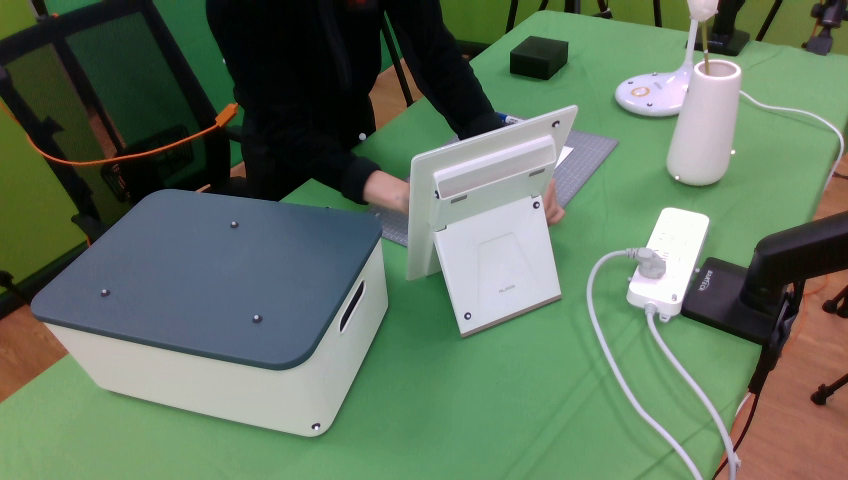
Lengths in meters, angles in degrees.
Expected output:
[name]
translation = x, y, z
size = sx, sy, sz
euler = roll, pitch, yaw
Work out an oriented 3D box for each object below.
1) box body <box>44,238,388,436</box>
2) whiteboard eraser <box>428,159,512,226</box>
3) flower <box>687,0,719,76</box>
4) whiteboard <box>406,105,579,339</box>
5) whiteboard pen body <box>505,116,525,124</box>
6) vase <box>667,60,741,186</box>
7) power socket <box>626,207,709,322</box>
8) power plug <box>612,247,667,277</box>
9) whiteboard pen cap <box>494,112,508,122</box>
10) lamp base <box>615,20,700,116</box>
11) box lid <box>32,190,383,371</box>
[box body]
translation = -0.251, 0.088, 0.799
size = 0.362, 0.161, 0.254
euler = 7, 42, 16
[whiteboard eraser]
translation = 0.064, -0.061, 0.829
size = 0.112, 0.056, 0.041
euler = -34, 64, 15
[flower]
translation = 0.436, -0.242, 0.934
size = 0.038, 0.364, 0.043
euler = -24, 49, 9
[whiteboard]
translation = 0.103, 0.003, 0.786
size = 0.218, 0.306, 0.143
euler = -19, 62, -14
[whiteboard pen body]
translation = 0.203, -0.232, 1.213
size = 0.139, 0.017, 0.017
euler = 27, 51, 36
[vase]
translation = 0.463, -0.189, 0.994
size = 0.098, 0.201, 0.097
euler = -4, 40, 3
[power socket]
translation = 0.360, 0.026, 0.886
size = 0.072, 0.033, 0.227
euler = 17, 46, 27
[power plug]
translation = 0.306, 0.031, 0.852
size = 0.072, 0.053, 0.035
euler = 21, 48, 37
[whiteboard pen cap]
translation = 0.161, -0.253, 1.248
size = 0.033, 0.018, 0.018
euler = 29, 52, 36
[lamp base]
translation = 0.484, -0.364, 1.211
size = 0.180, 0.181, 0.159
euler = -15, 41, -14
[box lid]
translation = -0.257, 0.032, 0.750
size = 0.370, 0.015, 0.263
euler = 7, 41, 16
